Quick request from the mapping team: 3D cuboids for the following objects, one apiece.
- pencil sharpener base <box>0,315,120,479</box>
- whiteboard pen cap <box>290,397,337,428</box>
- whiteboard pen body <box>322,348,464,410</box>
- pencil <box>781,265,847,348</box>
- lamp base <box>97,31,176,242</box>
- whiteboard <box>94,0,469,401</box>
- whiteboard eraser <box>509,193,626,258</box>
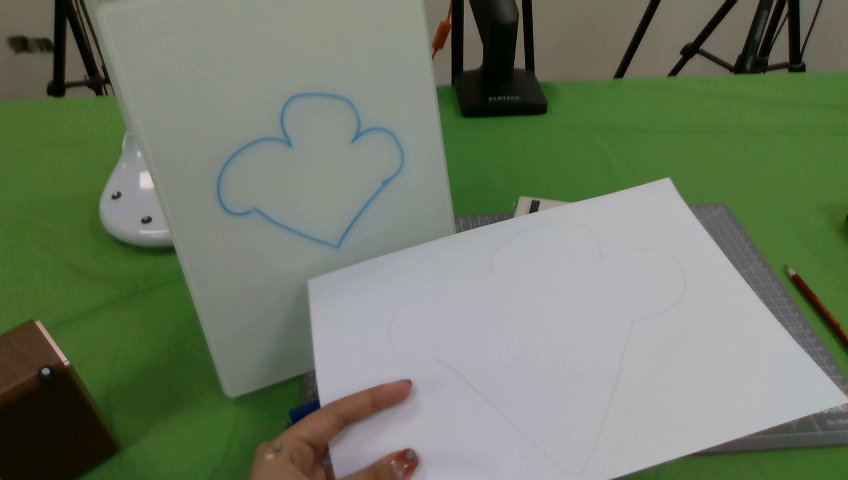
[{"bbox_3d":[-0.273,0.119,0.418,0.061,0.108,0.076,33,52,32],"label":"pencil sharpener base"},{"bbox_3d":[-0.085,0.131,0.465,0.033,0.018,0.018,-16,44,-16],"label":"whiteboard pen cap"},{"bbox_3d":[-0.033,0.114,0.482,0.141,0.017,0.017,-16,43,-17],"label":"whiteboard pen body"},{"bbox_3d":[0.370,0.085,0.534,0.012,0.012,0.192,-5,39,-5],"label":"pencil"},{"bbox_3d":[-0.284,-0.115,0.629,0.177,0.182,0.160,26,47,30],"label":"lamp base"},{"bbox_3d":[-0.104,-0.060,0.517,0.218,0.307,0.142,-17,25,-17],"label":"whiteboard"},{"bbox_3d":[0.146,-0.014,0.616,0.112,0.042,0.055,10,43,11],"label":"whiteboard eraser"}]
